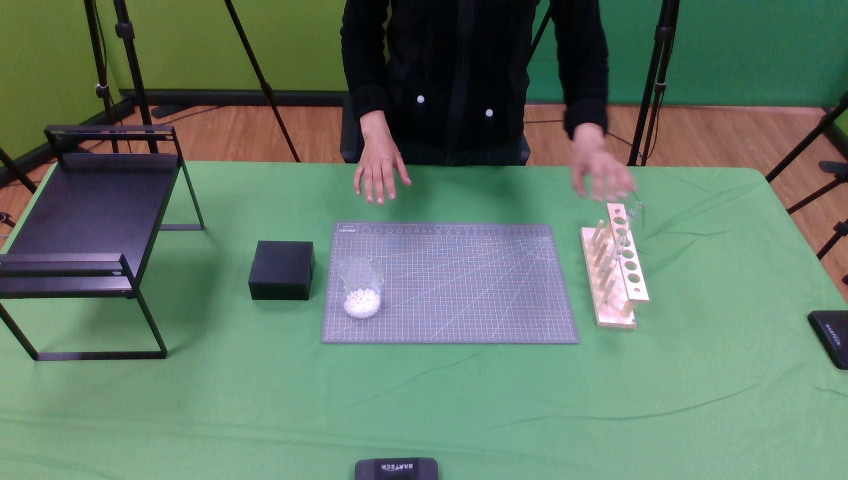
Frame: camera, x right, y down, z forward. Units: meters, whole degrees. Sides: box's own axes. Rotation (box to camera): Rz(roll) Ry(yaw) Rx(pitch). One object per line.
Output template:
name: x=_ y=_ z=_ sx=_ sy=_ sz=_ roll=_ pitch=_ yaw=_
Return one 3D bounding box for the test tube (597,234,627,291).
test tube: x=0.334 y=0.042 z=1.079 sx=0.017 sy=0.151 sz=0.017 roll=1 pitch=48 yaw=-1

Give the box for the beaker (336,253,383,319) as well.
beaker: x=-0.108 y=0.084 z=1.052 sx=0.084 sy=0.101 sz=0.074 roll=25 pitch=50 yaw=17

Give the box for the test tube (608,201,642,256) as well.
test tube: x=0.374 y=-0.019 z=1.134 sx=0.017 sy=0.151 sz=0.017 roll=3 pitch=51 yaw=-3

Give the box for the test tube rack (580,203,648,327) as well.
test tube rack: x=0.352 y=0.041 z=1.143 sx=0.067 sy=0.085 sz=0.241 roll=4 pitch=46 yaw=0
